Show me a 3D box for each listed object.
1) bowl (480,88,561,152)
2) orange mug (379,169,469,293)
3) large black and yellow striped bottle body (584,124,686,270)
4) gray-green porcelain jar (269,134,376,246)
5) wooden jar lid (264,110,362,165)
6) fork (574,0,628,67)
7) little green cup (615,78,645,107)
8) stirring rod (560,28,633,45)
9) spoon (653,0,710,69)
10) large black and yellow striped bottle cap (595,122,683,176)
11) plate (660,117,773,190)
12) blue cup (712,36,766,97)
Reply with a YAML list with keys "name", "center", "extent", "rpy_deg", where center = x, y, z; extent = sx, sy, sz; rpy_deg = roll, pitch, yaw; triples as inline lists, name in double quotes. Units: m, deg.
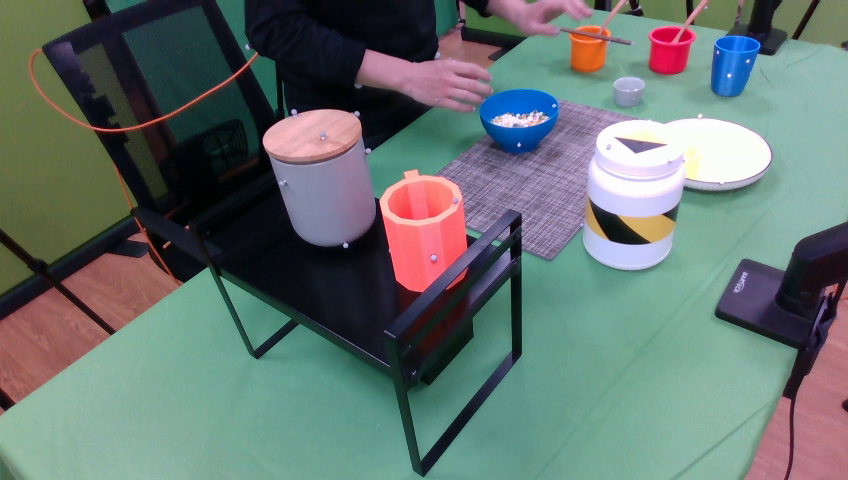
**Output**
- name: "bowl"
  center: [0.185, -0.222, 1.160]
  extent: [0.151, 0.077, 0.150]
  rpy_deg: [-4, 40, 4]
- name: "orange mug"
  center: [-0.002, -0.019, 0.665]
  extent: [0.083, 0.101, 0.125]
  rpy_deg: [-12, 44, -4]
- name: "large black and yellow striped bottle body"
  center: [0.304, -0.063, 0.880]
  extent: [0.131, 0.185, 0.130]
  rpy_deg: [-5, 41, 5]
- name: "gray-green porcelain jar"
  center: [-0.115, -0.064, 0.715]
  extent: [0.106, 0.127, 0.105]
  rpy_deg: [-4, 40, 4]
- name: "wooden jar lid"
  center: [-0.122, -0.112, 0.673]
  extent: [0.108, 0.021, 0.108]
  rpy_deg: [-4, 37, 4]
- name: "fork"
  center: [0.413, -0.481, 1.377]
  extent: [0.207, 0.019, 0.028]
  rpy_deg: [-56, 43, 12]
- name: "little green cup"
  center: [0.426, -0.306, 1.257]
  extent: [0.061, 0.039, 0.061]
  rpy_deg: [-4, 40, 4]
- name: "stirring rod"
  center: [0.381, -0.453, 1.345]
  extent: [0.174, 0.006, 0.014]
  rpy_deg: [26, 50, 33]
- name: "spoon"
  center: [0.573, -0.459, 1.332]
  extent: [0.041, 0.022, 0.193]
  rpy_deg: [43, 105, 41]
- name: "large black and yellow striped bottle cap"
  center: [0.293, -0.126, 0.826]
  extent: [0.115, 0.019, 0.114]
  rpy_deg: [-3, 40, 3]
- name: "plate"
  center: [0.495, -0.148, 1.063]
  extent: [0.209, 0.038, 0.208]
  rpy_deg: [-5, 40, 4]
- name: "blue cup"
  center: [0.627, -0.350, 1.227]
  extent: [0.092, 0.100, 0.092]
  rpy_deg: [-4, 39, 4]
